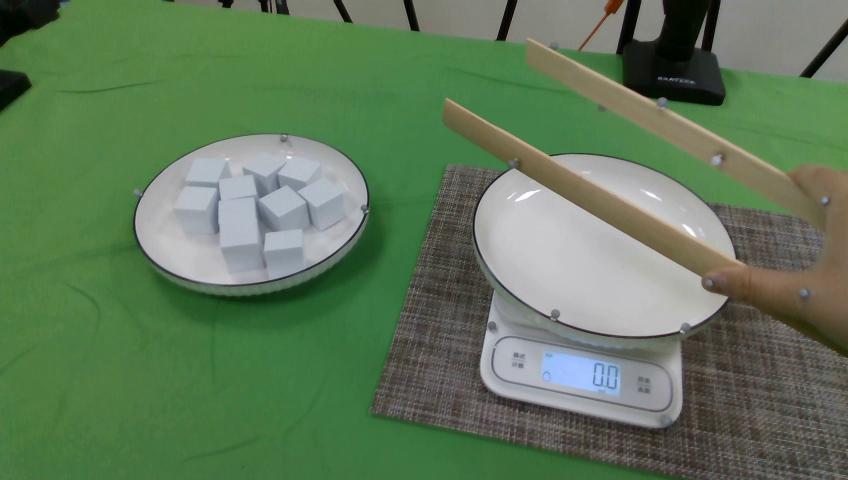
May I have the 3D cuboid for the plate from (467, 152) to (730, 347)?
[{"bbox_3d":[0.137,0.006,0.497,0.208,0.039,0.205,2,46,-1],"label":"plate"}]

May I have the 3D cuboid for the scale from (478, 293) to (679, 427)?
[{"bbox_3d":[0.131,0.049,0.501,0.148,0.032,0.199,10,47,8],"label":"scale"}]

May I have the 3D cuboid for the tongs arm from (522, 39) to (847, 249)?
[{"bbox_3d":[0.199,-0.029,0.379,0.381,0.027,0.050,37,62,25],"label":"tongs arm"}]

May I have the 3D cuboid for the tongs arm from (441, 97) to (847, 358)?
[{"bbox_3d":[0.163,0.002,0.359,0.384,0.028,0.028,33,57,23],"label":"tongs arm"}]

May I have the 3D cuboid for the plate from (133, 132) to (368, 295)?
[{"bbox_3d":[-0.155,-0.025,0.564,0.209,0.038,0.207,1,46,-1],"label":"plate"}]
